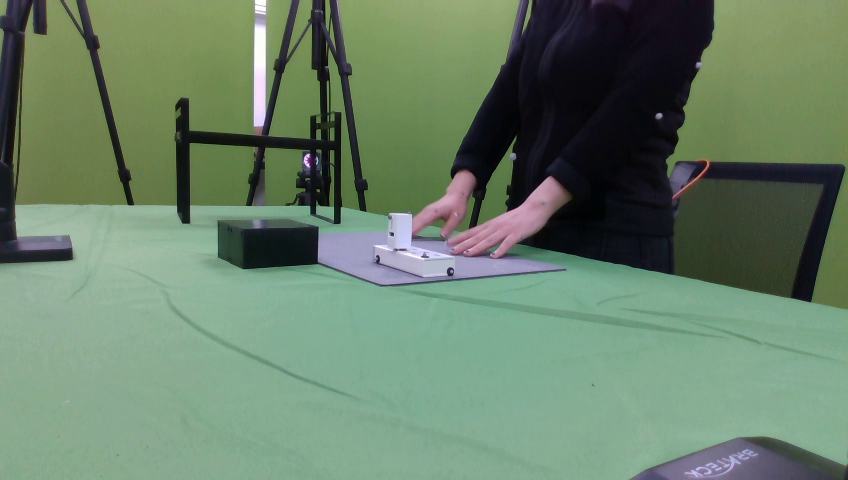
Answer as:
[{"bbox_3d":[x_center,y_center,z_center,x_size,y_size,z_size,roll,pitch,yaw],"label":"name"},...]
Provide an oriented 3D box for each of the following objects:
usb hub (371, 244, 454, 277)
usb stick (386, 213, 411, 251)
[{"bbox_3d":[-0.018,0.024,0.777,0.050,0.025,0.124,-3,9,-35],"label":"usb hub"},{"bbox_3d":[-0.032,-0.005,0.767,0.027,0.059,0.021,0,1,-34],"label":"usb stick"}]
